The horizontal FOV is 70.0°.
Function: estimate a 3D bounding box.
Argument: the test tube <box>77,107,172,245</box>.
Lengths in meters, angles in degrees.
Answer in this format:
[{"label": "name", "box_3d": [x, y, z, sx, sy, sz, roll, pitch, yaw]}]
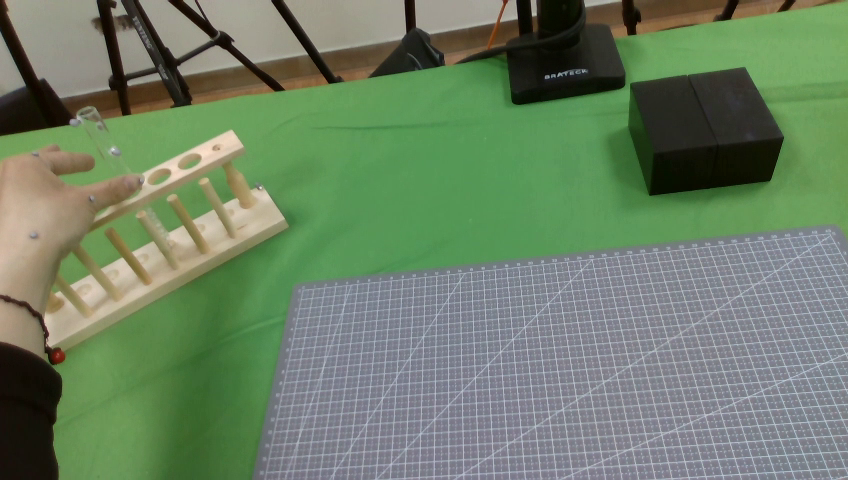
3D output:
[{"label": "test tube", "box_3d": [-0.261, -0.050, 0.537, 0.017, 0.152, 0.017, -6, 44, 6]}]

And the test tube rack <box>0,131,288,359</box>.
[{"label": "test tube rack", "box_3d": [-0.259, 0.002, 0.558, 0.242, 0.086, 0.066, -31, 49, -13]}]
